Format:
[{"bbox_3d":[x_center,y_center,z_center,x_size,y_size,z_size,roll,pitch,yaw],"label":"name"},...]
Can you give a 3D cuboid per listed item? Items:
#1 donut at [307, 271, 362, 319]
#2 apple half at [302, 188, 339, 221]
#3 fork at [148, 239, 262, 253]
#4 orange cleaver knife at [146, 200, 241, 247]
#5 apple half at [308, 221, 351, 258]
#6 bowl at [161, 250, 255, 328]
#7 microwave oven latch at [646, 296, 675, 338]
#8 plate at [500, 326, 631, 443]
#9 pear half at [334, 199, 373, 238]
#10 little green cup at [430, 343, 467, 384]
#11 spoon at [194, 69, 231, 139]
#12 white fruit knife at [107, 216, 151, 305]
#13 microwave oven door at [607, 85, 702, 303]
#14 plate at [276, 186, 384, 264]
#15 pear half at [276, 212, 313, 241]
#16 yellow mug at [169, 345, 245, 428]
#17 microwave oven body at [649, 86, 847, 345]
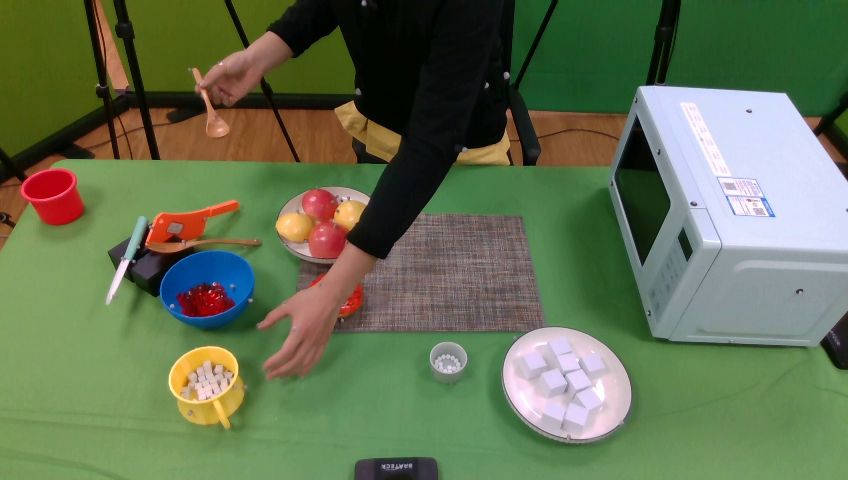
[{"bbox_3d":[-0.157,0.097,1.072,0.099,0.048,0.098,4,45,-4],"label":"donut"},{"bbox_3d":[-0.205,-0.076,1.217,0.081,0.033,0.081,18,46,-19],"label":"apple half"},{"bbox_3d":[-0.398,0.008,1.117,0.208,0.019,0.028,-5,31,-37],"label":"fork"},{"bbox_3d":[-0.435,-0.033,1.157,0.012,0.077,0.211,31,26,19],"label":"orange cleaver knife"},{"bbox_3d":[-0.180,-0.005,1.150,0.074,0.053,0.080,14,43,8],"label":"apple half"},{"bbox_3d":[-0.362,0.097,1.040,0.151,0.077,0.150,2,45,-2],"label":"bowl"},{"bbox_3d":[0.412,0.134,1.061,0.030,0.029,0.078,4,45,1],"label":"microwave oven latch"},{"bbox_3d":[0.224,0.234,0.978,0.208,0.039,0.206,2,46,-2],"label":"plate"},{"bbox_3d":[-0.147,-0.060,1.210,0.076,0.056,0.109,-16,45,-25],"label":"pear half"},{"bbox_3d":[0.039,0.203,0.994,0.061,0.039,0.061,2,46,-2],"label":"little green cup"},{"bbox_3d":[-0.416,-0.266,1.174,0.041,0.022,0.192,-21,68,-12],"label":"spoon"},{"bbox_3d":[-0.518,0.032,1.066,0.027,0.016,0.206,-18,45,19],"label":"white fruit knife"},{"bbox_3d":[0.423,-0.094,1.140,0.039,0.245,0.353,2,46,-1],"label":"microwave oven door"},{"bbox_3d":[-0.184,-0.027,1.195,0.209,0.038,0.208,2,46,-2],"label":"plate"},{"bbox_3d":[-0.245,-0.035,1.178,0.070,0.031,0.088,40,41,2],"label":"pear half"},{"bbox_3d":[-0.322,0.230,0.922,0.100,0.064,0.130,-24,53,-25],"label":"yellow mug"},{"bbox_3d":[0.568,-0.053,1.118,0.326,0.261,0.439,2,45,-1],"label":"microwave oven body"}]
